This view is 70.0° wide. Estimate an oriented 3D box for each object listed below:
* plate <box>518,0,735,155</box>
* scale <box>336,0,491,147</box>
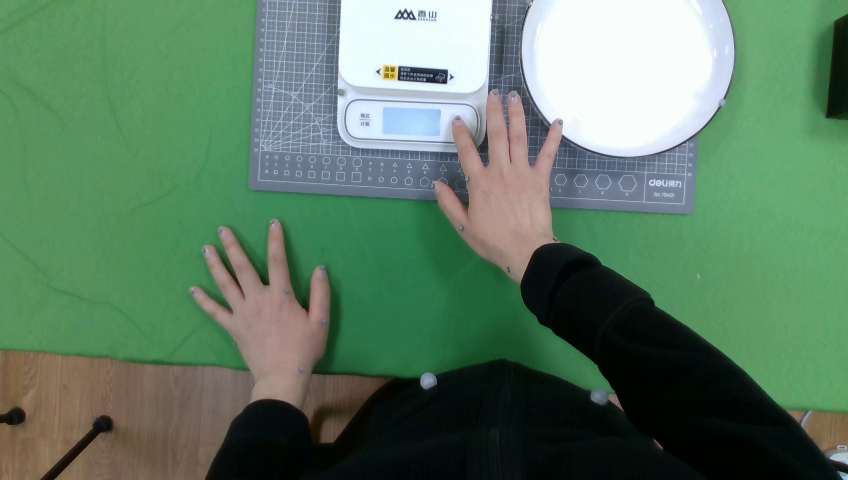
[{"bbox_3d":[0.194,-0.185,0.594,0.209,0.038,0.209,0,91,-1],"label":"plate"},{"bbox_3d":[-0.010,-0.196,0.596,0.149,0.031,0.201,3,92,0],"label":"scale"}]
